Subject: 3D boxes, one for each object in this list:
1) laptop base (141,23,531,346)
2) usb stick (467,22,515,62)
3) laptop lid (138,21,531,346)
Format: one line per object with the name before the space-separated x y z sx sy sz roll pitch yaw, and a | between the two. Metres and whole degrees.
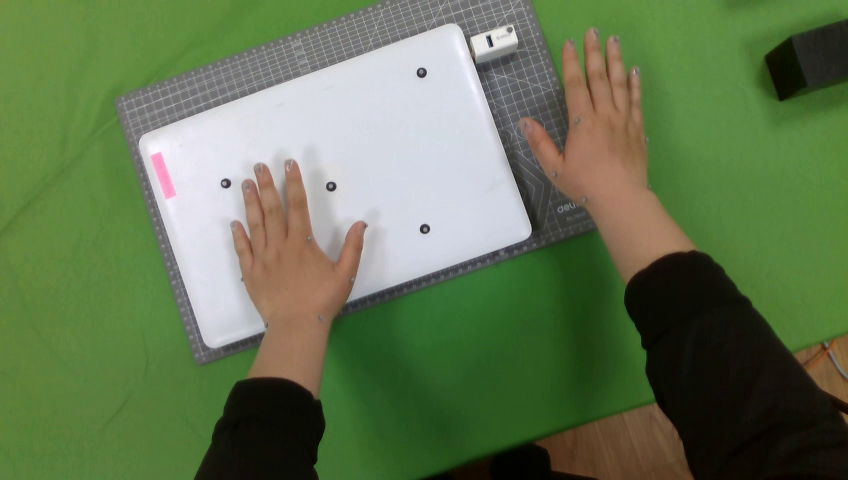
laptop base | -0.093 -0.057 0.625 0.354 0.023 0.235 -20 89 2
usb stick | 0.060 -0.198 0.613 0.059 0.027 0.021 -17 82 3
laptop lid | -0.094 -0.056 0.614 0.357 0.013 0.241 -18 88 2
